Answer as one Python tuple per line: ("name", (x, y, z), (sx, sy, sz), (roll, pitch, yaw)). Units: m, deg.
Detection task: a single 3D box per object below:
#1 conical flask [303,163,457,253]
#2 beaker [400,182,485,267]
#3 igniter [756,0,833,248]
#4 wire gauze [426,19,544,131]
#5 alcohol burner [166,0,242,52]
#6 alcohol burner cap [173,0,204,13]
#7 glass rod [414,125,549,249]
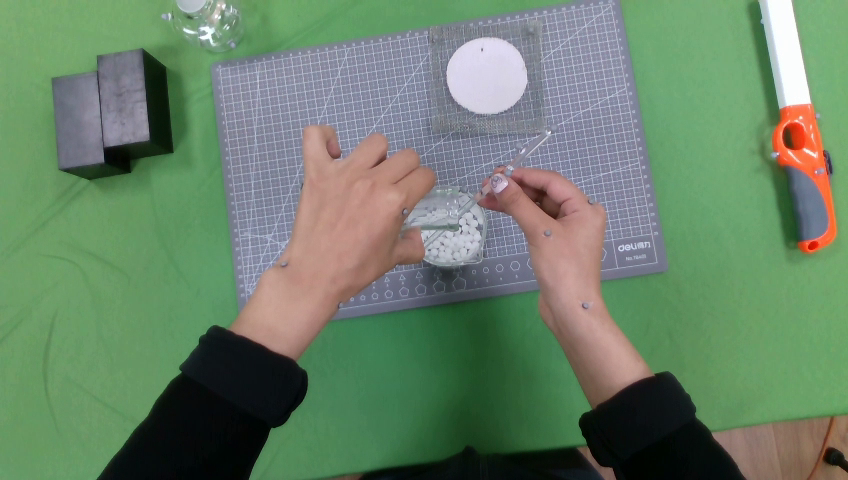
("conical flask", (-0.033, -0.027, 0.503), (0.122, 0.075, 0.075), (0, 84, 3))
("beaker", (0.023, -0.009, 0.591), (0.074, 0.100, 0.084), (-45, 84, -1))
("igniter", (0.376, -0.129, 0.618), (0.057, 0.025, 0.276), (-6, 85, -6))
("wire gauze", (0.065, -0.176, 0.649), (0.125, 0.011, 0.121), (-1, 85, 1))
("alcohol burner", (-0.235, -0.243, 0.623), (0.078, 0.119, 0.077), (0, 86, 5))
("alcohol burner cap", (-0.238, -0.249, 0.588), (0.034, 0.048, 0.033), (-1, 78, 4))
("glass rod", (0.040, -0.038, 0.511), (0.008, 0.200, 0.008), (16, 56, -25))
